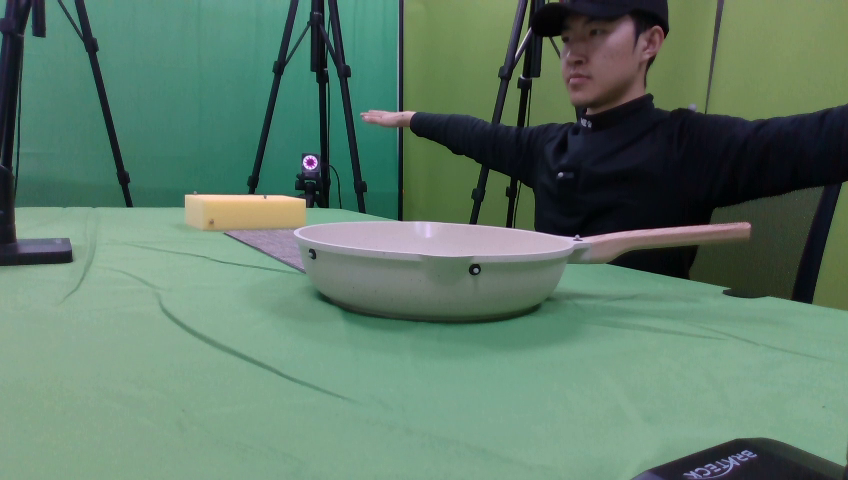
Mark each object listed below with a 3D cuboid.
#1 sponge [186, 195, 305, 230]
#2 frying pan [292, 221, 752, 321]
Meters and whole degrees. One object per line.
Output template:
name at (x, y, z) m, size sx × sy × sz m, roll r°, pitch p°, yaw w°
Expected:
sponge at (-0.358, -0.057, 1.219) m, size 0.208 × 0.061 × 0.117 m, roll -3°, pitch 8°, yaw -37°
frying pan at (0.112, 0.012, 0.644) m, size 0.488 × 0.102 × 0.306 m, roll -6°, pitch 8°, yaw -2°
